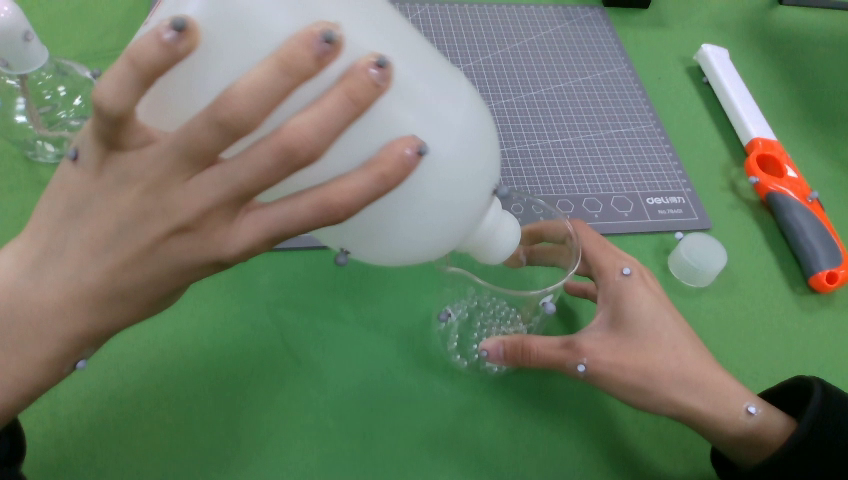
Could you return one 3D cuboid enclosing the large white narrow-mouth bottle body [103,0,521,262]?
[{"bbox_3d":[-0.028,-0.047,0.276,0.196,0.101,0.101,34,47,-30],"label":"large white narrow-mouth bottle body"}]

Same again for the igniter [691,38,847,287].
[{"bbox_3d":[0.289,-0.079,0.516,0.057,0.025,0.273,6,54,-16],"label":"igniter"}]

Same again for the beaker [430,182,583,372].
[{"bbox_3d":[0.041,0.028,0.361,0.084,0.101,0.073,-15,54,-19],"label":"beaker"}]

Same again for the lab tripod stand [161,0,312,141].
[{"bbox_3d":[-0.139,-0.170,0.457,0.149,0.132,0.147,5,54,-6],"label":"lab tripod stand"}]

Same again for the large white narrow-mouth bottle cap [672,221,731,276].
[{"bbox_3d":[0.205,0.007,0.449,0.038,0.024,0.037,3,54,-4],"label":"large white narrow-mouth bottle cap"}]

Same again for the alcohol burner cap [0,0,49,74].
[{"bbox_3d":[-0.267,-0.133,0.385,0.034,0.048,0.033,3,60,-4],"label":"alcohol burner cap"}]

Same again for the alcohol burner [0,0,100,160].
[{"bbox_3d":[-0.270,-0.113,0.415,0.078,0.120,0.077,5,52,-5],"label":"alcohol burner"}]
